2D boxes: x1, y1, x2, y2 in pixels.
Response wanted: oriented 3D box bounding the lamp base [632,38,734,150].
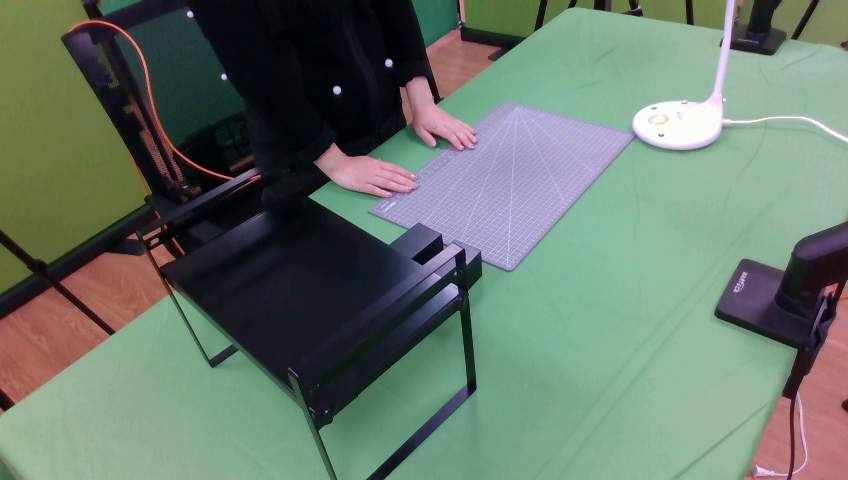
[{"bbox_3d":[0.486,-0.280,1.108,0.179,0.181,0.159,-5,41,-1],"label":"lamp base"}]
